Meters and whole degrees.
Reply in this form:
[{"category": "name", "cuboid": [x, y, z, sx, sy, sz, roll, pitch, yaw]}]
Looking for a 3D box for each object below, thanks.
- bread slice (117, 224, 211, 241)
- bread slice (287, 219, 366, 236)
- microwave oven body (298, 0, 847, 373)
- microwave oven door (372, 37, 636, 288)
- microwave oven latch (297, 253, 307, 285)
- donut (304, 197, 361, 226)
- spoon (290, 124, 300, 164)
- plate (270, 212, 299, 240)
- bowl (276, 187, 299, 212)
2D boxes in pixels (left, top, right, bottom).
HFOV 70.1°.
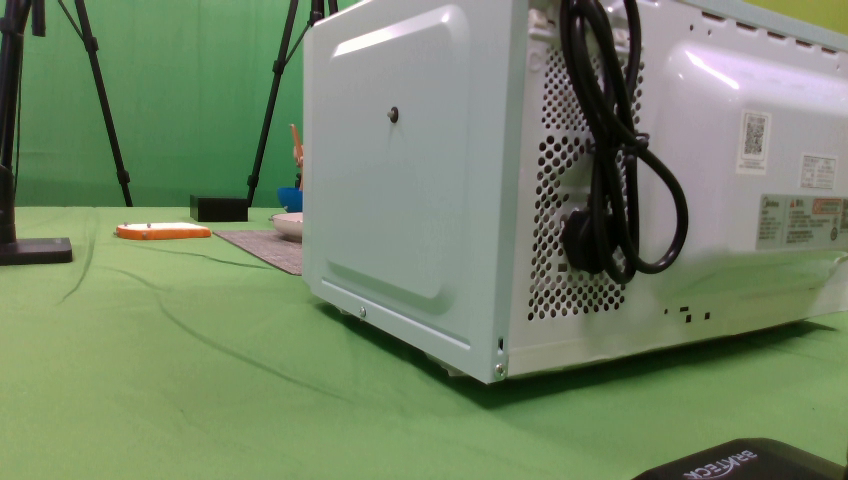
[{"category": "bread slice", "cuboid": [-0.443, -0.015, 1.022, 0.132, 0.019, 0.104, -3, 8, -45]}, {"category": "bread slice", "cuboid": [-0.170, -0.022, 1.056, 0.134, 0.018, 0.107, 2, 7, -6]}, {"category": "microwave oven body", "cuboid": [0.151, -0.055, 0.542, 0.444, 0.260, 0.324, -2, 7, -33]}, {"category": "microwave oven door", "cuboid": [0.109, -0.080, 0.686, 0.358, 0.243, 0.039, -2, 9, -33]}, {"category": "microwave oven latch", "cuboid": [-0.081, 0.027, 0.582, 0.079, 0.029, 0.030, -1, 7, -32]}, {"category": "donut", "cuboid": [-0.159, -0.050, 1.055, 0.099, 0.048, 0.099, 3, 8, 0]}, {"category": "spoon", "cuboid": [-0.266, -0.157, 1.313, 0.021, 0.193, 0.042, -3, 6, 41]}, {"category": "plate", "cuboid": [-0.162, -0.022, 1.058, 0.208, 0.039, 0.207, 2, 7, 0]}, {"category": "bowl", "cuboid": [-0.241, -0.073, 1.302, 0.151, 0.077, 0.151, 2, 7, 0]}]
